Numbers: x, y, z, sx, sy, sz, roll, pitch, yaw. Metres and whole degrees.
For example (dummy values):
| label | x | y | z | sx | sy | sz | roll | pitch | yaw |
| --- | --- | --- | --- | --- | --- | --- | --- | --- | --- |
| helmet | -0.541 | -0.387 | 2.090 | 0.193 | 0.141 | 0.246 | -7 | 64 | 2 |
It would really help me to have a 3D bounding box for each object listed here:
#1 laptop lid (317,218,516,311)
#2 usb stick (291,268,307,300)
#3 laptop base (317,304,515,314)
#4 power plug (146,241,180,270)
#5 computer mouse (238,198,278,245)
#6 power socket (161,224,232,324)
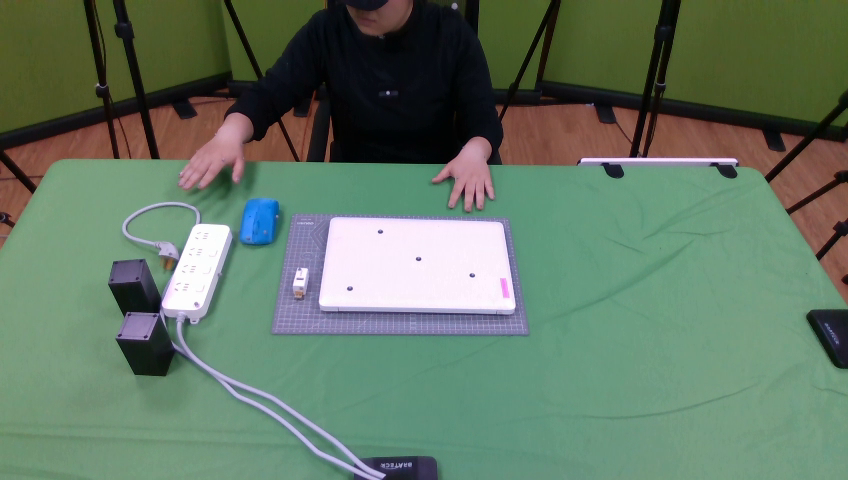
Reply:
| label | x | y | z | sx | sy | sz | roll | pitch | yaw |
| --- | --- | --- | --- | --- | --- | --- | --- | --- | --- |
| laptop lid | -0.013 | 0.040 | 1.143 | 0.357 | 0.013 | 0.240 | 3 | 43 | -2 |
| usb stick | -0.227 | 0.081 | 1.094 | 0.021 | 0.027 | 0.059 | 5 | 48 | -2 |
| laptop base | -0.014 | 0.049 | 1.150 | 0.354 | 0.023 | 0.234 | 1 | 42 | -3 |
| power plug | -0.488 | 0.030 | 1.130 | 0.072 | 0.035 | 0.052 | -1 | 65 | 27 |
| computer mouse | -0.328 | -0.039 | 1.200 | 0.063 | 0.041 | 0.116 | 4 | 50 | -4 |
| power socket | -0.412 | 0.053 | 1.106 | 0.072 | 0.033 | 0.225 | 4 | 46 | -1 |
